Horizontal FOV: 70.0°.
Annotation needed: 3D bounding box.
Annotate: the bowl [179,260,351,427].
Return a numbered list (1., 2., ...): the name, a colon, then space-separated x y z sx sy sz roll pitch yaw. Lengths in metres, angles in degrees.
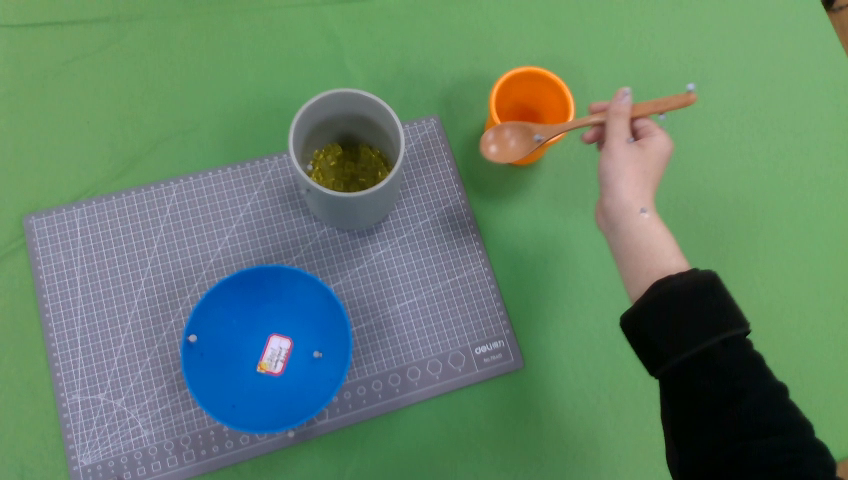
1. bowl: -0.145 0.100 0.578 0.151 0.077 0.150 2 76 -6

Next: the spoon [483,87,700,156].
1. spoon: 0.145 -0.110 0.549 0.193 0.022 0.041 -8 78 30

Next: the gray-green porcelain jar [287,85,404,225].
1. gray-green porcelain jar: -0.075 -0.077 0.602 0.106 0.127 0.105 1 76 -5
